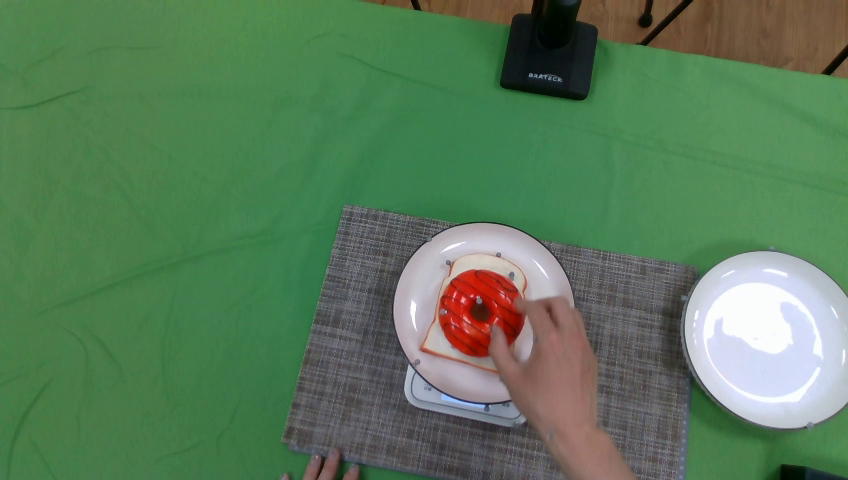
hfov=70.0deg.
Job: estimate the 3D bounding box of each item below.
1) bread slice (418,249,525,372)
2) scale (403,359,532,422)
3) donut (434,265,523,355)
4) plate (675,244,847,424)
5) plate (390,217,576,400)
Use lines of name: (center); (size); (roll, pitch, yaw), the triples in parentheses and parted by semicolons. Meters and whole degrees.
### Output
bread slice: (0.060, 0.074, 0.695); (0.105, 0.019, 0.131); (15, 75, 4)
scale: (0.064, 0.103, 0.719); (0.148, 0.032, 0.200); (11, 75, 5)
donut: (0.060, 0.076, 0.664); (0.099, 0.048, 0.098); (0, 77, -1)
plate: (0.397, 0.109, 0.710); (0.207, 0.039, 0.206); (0, 74, 1)
plate: (0.066, 0.076, 0.692); (0.209, 0.038, 0.208); (0, 74, 1)
